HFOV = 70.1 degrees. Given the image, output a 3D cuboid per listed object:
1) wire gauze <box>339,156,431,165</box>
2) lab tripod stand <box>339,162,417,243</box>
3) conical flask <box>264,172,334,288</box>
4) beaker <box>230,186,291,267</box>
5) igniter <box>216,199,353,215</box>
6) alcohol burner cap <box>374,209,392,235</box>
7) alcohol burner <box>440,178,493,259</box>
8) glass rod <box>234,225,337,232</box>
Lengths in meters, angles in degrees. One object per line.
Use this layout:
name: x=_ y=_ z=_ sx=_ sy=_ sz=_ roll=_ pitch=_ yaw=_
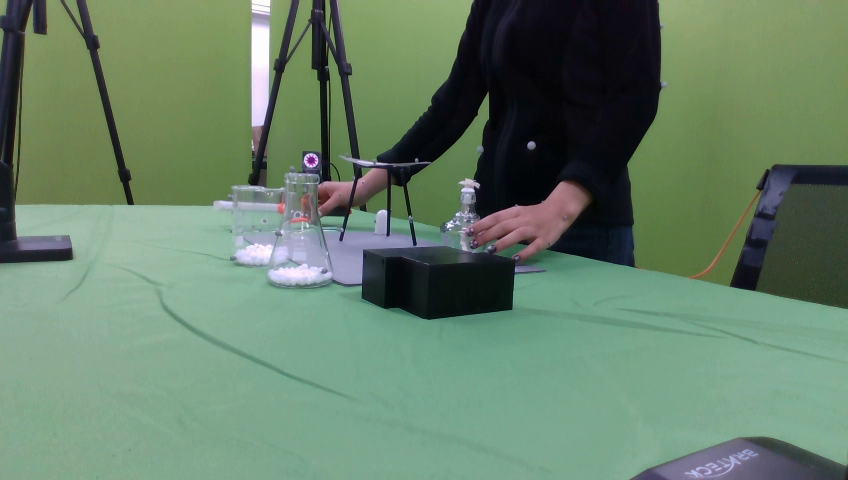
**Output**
wire gauze: x=-0.067 y=-0.132 z=1.022 sx=0.122 sy=0.011 sz=0.124 roll=-1 pitch=9 yaw=-31
lab tripod stand: x=-0.067 y=-0.065 z=1.027 sx=0.148 sy=0.131 sz=0.148 roll=4 pitch=7 yaw=0
conical flask: x=-0.136 y=-0.013 z=0.660 sx=0.075 sy=0.122 sz=0.075 roll=2 pitch=7 yaw=0
beaker: x=-0.209 y=-0.019 z=0.778 sx=0.074 sy=0.100 sz=0.084 roll=3 pitch=6 yaw=4
igniter: x=-0.268 y=-0.065 z=1.198 sx=0.278 sy=0.025 sz=0.057 roll=0 pitch=4 yaw=-38
alcohol burner cap: x=-0.078 y=-0.036 z=1.148 sx=0.034 sy=0.048 sz=0.034 roll=2 pitch=7 yaw=0
alcohol burner: x=0.064 y=-0.032 z=0.887 sx=0.078 sy=0.119 sz=0.078 roll=4 pitch=5 yaw=0
glass rod: x=-0.255 y=-0.022 z=1.136 sx=0.201 sy=0.008 sz=0.008 roll=-3 pitch=9 yaw=-33
